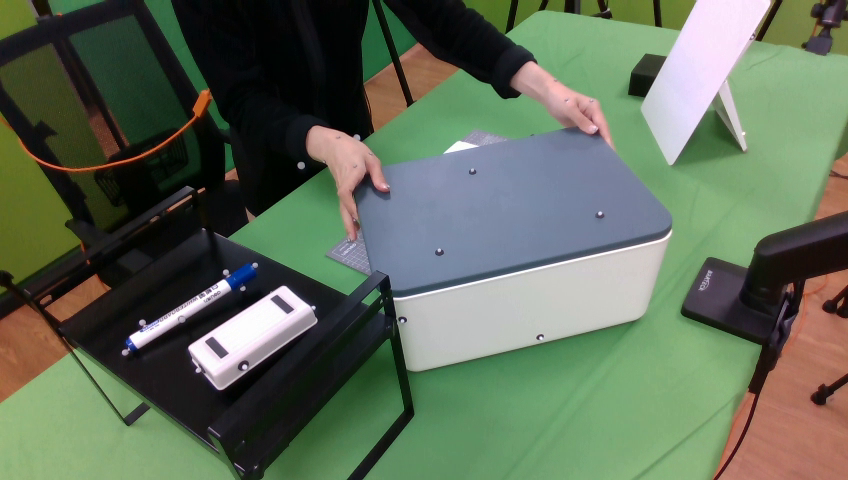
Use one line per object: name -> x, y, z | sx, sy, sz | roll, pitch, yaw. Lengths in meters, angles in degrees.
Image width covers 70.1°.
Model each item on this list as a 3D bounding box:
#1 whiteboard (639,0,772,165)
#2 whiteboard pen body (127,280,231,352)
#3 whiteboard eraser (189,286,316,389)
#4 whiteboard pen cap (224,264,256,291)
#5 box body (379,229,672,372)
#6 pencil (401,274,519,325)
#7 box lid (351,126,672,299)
whiteboard -> 0.543, -0.298, 1.076 | 0.144, 0.305, 0.216 | 12, 40, -7
whiteboard pen body -> -0.248, 0.072, 0.645 | 0.141, 0.017, 0.017 | -35, 47, -23
whiteboard eraser -> -0.166, 0.096, 0.593 | 0.113, 0.042, 0.055 | -36, 47, -29
whiteboard pen cap -> -0.204, 0.041, 0.668 | 0.033, 0.018, 0.018 | -36, 48, -22
box body -> 0.108, 0.013, 0.834 | 0.365, 0.161, 0.252 | -12, 41, -6
pencil -> 0.056, 0.082, 0.872 | 0.195, 0.012, 0.012 | -20, 42, -20
box lid -> 0.100, -0.051, 0.787 | 0.372, 0.015, 0.261 | -13, 41, -6
